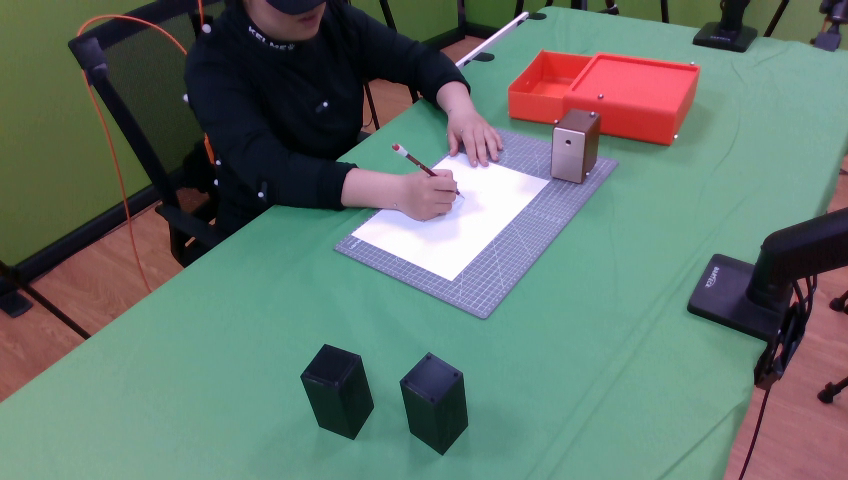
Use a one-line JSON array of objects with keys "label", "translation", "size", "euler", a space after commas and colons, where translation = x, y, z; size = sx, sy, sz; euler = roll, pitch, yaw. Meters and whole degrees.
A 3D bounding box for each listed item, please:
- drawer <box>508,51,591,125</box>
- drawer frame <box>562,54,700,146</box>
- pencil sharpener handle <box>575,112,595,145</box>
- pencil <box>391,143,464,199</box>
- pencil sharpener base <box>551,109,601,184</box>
[{"label": "drawer", "translation": [0.304, -0.309, 1.246], "size": [0.210, 0.073, 0.195], "euler": [16, 45, 25]}, {"label": "drawer frame", "translation": [0.407, -0.282, 1.195], "size": [0.212, 0.083, 0.202], "euler": [17, 45, 25]}, {"label": "pencil sharpener handle", "translation": [0.290, -0.203, 1.077], "size": [0.036, 0.068, 0.031], "euler": [20, 47, 25]}, {"label": "pencil", "translation": [0.011, -0.108, 0.983], "size": [0.012, 0.196, 0.012], "euler": [-19, 58, 33]}, {"label": "pencil sharpener base", "translation": [0.265, -0.163, 1.053], "size": [0.061, 0.107, 0.077], "euler": [17, 46, 27]}]
